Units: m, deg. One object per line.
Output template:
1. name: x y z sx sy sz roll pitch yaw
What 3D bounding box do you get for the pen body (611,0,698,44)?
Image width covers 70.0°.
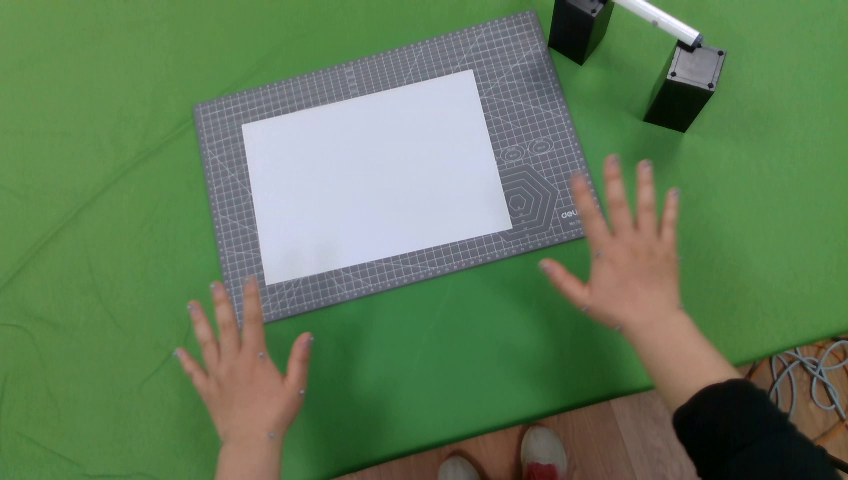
1. pen body: 0.219 -0.247 0.633 0.143 0.017 0.017 36 83 11
